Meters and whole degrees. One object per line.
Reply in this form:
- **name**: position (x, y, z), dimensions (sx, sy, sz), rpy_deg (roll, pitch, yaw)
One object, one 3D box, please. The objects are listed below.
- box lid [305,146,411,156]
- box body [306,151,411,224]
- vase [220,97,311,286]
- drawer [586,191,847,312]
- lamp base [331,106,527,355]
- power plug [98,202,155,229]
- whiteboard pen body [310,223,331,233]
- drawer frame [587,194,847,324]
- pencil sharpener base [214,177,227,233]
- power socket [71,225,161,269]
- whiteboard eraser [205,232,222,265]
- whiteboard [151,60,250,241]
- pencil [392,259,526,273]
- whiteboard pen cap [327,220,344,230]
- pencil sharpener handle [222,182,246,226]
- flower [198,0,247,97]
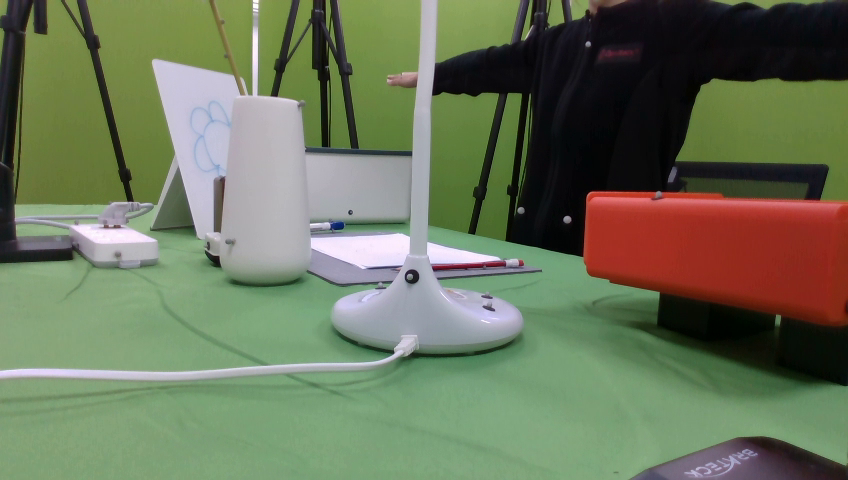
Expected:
- **box lid**: position (-0.229, -0.200, 1.361), dimensions (0.373, 0.015, 0.262), rpy_deg (-3, 9, -32)
- **box body**: position (-0.230, -0.126, 1.371), dimensions (0.366, 0.160, 0.253), rpy_deg (-2, 8, -33)
- **vase**: position (-0.172, -0.052, 0.662), dimensions (0.098, 0.200, 0.098), rpy_deg (3, 9, 0)
- **drawer**: position (0.281, 0.001, 0.512), dimensions (0.195, 0.073, 0.210), rpy_deg (-1, 8, -29)
- **lamp base**: position (0.006, -0.012, 0.478), dimensions (0.161, 0.180, 0.179), rpy_deg (2, 10, 2)
- **power plug**: position (-0.416, -0.027, 0.848), dimensions (0.073, 0.052, 0.035), rpy_deg (0, 8, -28)
- **whiteboard pen body**: position (-0.207, -0.021, 1.081), dimensions (0.017, 0.017, 0.141), rpy_deg (9, 10, 41)
- **drawer frame**: position (0.285, 0.004, 0.508), dimensions (0.203, 0.082, 0.212), rpy_deg (-1, 6, -29)
- **pencil sharpener base**: position (-0.265, -0.036, 0.870), dimensions (0.061, 0.107, 0.076), rpy_deg (-2, 8, -29)
- **power socket**: position (-0.408, 0.004, 0.793), dimensions (0.072, 0.032, 0.225), rpy_deg (-2, 8, -38)
- **whiteboard eraser**: position (-0.219, 0.010, 0.778), dimensions (0.113, 0.042, 0.055), rpy_deg (-3, 7, -33)
- **whiteboard**: position (-0.408, -0.139, 1.093), dimensions (0.143, 0.305, 0.218), rpy_deg (-15, -1, 26)
- **pencil**: position (0.049, 0.035, 0.782), dimensions (0.195, 0.012, 0.012), rpy_deg (-2, 9, -25)
- **whiteboard pen cap**: position (-0.166, -0.027, 1.124), dimensions (0.018, 0.018, 0.033), rpy_deg (9, 10, 41)
- **pencil sharpener handle**: position (-0.289, -0.055, 0.912), dimensions (0.036, 0.067, 0.030), rpy_deg (-3, 9, -29)
- **flower**: position (-0.187, -0.133, 0.648), dimensions (0.038, 0.362, 0.044), rpy_deg (-1, 22, 43)
